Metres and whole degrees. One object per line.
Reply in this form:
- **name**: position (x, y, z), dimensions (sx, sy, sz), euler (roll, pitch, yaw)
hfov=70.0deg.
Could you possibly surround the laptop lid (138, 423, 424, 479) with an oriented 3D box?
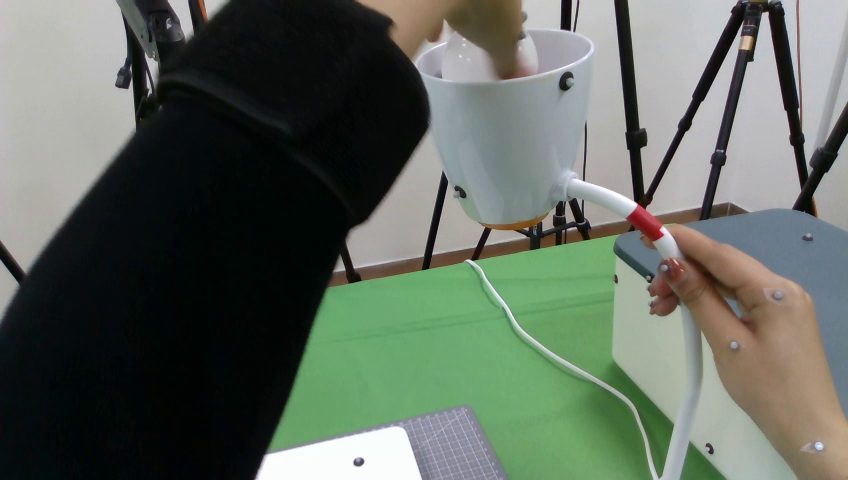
- **laptop lid**: position (-0.160, 0.265, 0.484), dimensions (0.357, 0.013, 0.239), euler (-8, 29, -11)

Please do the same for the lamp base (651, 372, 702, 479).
- **lamp base**: position (0.169, 0.196, 0.437), dimensions (0.160, 0.181, 0.179), euler (9, 26, 20)

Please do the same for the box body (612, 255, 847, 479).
- **box body**: position (0.380, 0.123, 0.591), dimensions (0.255, 0.161, 0.360), euler (-10, 27, -15)

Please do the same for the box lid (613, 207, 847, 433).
- **box lid**: position (0.377, 0.055, 0.559), dimensions (0.264, 0.015, 0.367), euler (-9, 27, -15)

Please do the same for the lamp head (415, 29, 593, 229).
- **lamp head**: position (0.059, -0.069, 0.405), dimensions (0.112, 0.124, 0.111), euler (-10, 28, 6)

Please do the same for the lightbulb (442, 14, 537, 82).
- **lightbulb**: position (0.046, -0.090, 0.392), dimensions (0.059, 0.109, 0.059), euler (-10, 35, 8)

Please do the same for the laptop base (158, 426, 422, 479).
- **laptop base**: position (-0.160, 0.274, 0.492), dimensions (0.355, 0.023, 0.233), euler (-9, 30, -13)
